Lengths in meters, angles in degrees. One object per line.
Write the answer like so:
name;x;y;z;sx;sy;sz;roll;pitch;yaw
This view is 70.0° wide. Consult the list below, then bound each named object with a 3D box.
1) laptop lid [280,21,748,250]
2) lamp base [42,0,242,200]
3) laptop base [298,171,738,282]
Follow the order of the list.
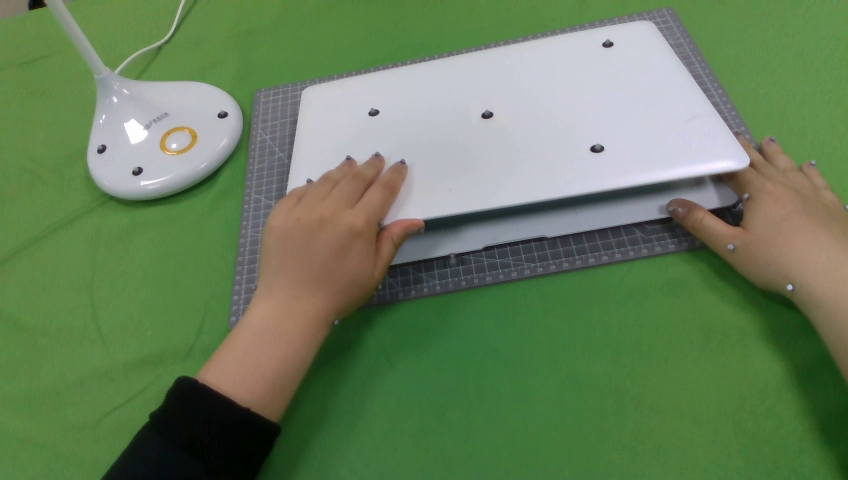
laptop lid;0.055;-0.104;0.523;0.356;0.013;0.239;-9;45;5
lamp base;-0.288;-0.153;0.565;0.178;0.182;0.160;23;61;28
laptop base;0.061;-0.086;0.547;0.354;0.023;0.233;-10;55;4
